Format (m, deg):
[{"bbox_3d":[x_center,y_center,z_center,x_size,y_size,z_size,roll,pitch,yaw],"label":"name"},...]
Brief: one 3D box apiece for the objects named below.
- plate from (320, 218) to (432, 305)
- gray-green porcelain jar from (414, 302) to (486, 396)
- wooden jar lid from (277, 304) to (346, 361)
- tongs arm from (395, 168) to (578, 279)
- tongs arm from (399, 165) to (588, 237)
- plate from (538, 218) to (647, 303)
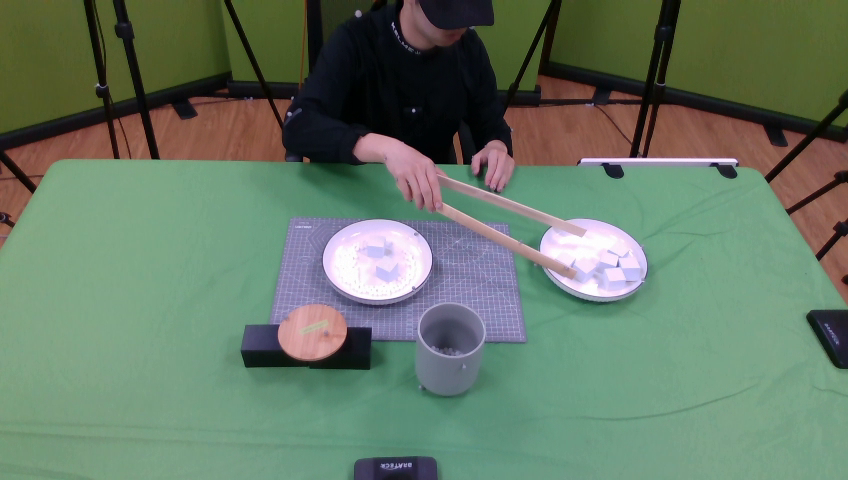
[{"bbox_3d":[-0.089,0.044,1.134,0.209,0.038,0.208,3,46,-2],"label":"plate"},{"bbox_3d":[0.038,0.177,0.958,0.106,0.127,0.105,2,46,-2],"label":"gray-green porcelain jar"},{"bbox_3d":[-0.179,0.150,0.972,0.108,0.021,0.107,2,45,-2],"label":"wooden jar lid"},{"bbox_3d":[0.112,-0.033,1.140,0.384,0.026,0.050,26,45,6],"label":"tongs arm"},{"bbox_3d":[0.136,-0.076,1.191,0.388,0.028,0.028,19,48,-1],"label":"tongs arm"},{"bbox_3d":[0.321,0.043,1.171,0.208,0.039,0.206,2,46,-2],"label":"plate"}]
